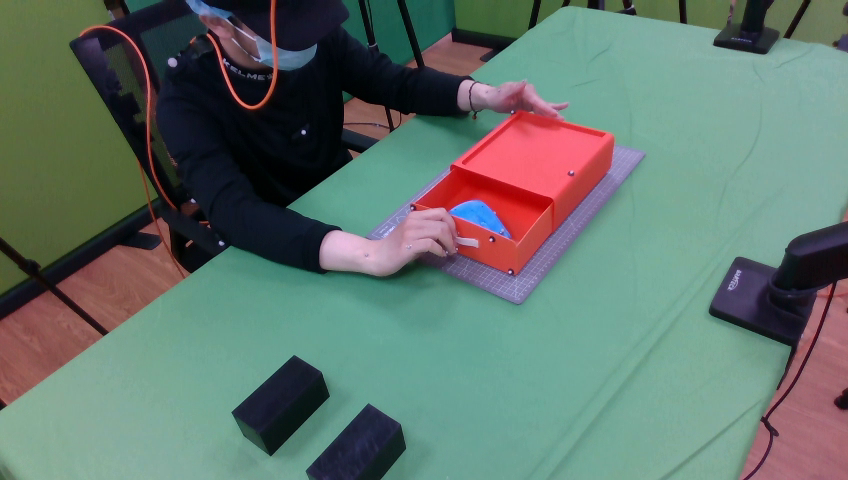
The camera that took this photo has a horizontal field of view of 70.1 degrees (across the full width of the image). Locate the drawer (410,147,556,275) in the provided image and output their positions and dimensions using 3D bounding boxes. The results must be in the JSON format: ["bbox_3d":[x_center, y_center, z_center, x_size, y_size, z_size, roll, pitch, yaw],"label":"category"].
[{"bbox_3d":[0.117,-0.060,0.973,0.193,0.073,0.212,22,48,31],"label":"drawer"}]

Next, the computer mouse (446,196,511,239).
[{"bbox_3d":[0.085,-0.029,0.955,0.063,0.041,0.116,-16,50,-24],"label":"computer mouse"}]

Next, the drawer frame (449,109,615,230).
[{"bbox_3d":[0.186,-0.126,1.037,0.200,0.083,0.214,22,48,31],"label":"drawer frame"}]
